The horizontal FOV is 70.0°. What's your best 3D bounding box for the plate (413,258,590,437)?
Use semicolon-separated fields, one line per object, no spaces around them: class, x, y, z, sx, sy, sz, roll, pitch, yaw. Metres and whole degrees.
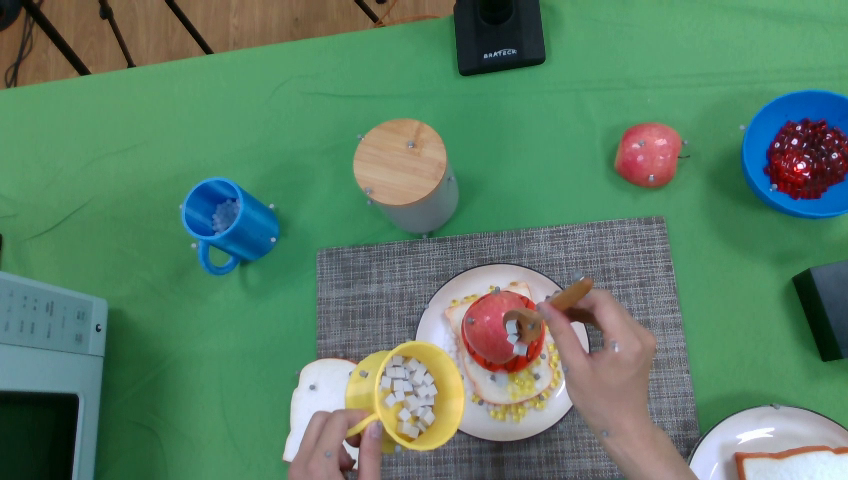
plate;0.090;0.126;0.723;0.207;0.039;0.206;-3;75;10

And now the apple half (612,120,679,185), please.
apple half;0.275;-0.114;0.748;0.074;0.054;0.080;17;79;17

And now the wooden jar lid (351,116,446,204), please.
wooden jar lid;-0.028;-0.089;0.691;0.108;0.021;0.107;-2;73;8

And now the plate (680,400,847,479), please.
plate;0.375;0.275;0.635;0.209;0.038;0.208;-3;75;10

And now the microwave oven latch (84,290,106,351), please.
microwave oven latch;-0.448;0.108;0.811;0.030;0.030;0.078;-2;76;10

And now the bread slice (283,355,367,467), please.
bread slice;-0.119;0.209;0.752;0.105;0.019;0.131;2;78;10

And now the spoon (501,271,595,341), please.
spoon;0.109;0.063;0.545;0.041;0.194;0.021;42;71;5

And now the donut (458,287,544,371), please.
donut;0.089;0.103;0.700;0.099;0.048;0.098;-3;76;10

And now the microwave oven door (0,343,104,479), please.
microwave oven door;-0.458;0.293;0.658;0.039;0.245;0.353;-6;74;10

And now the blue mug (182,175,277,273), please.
blue mug;-0.257;-0.012;0.791;0.082;0.106;0.116;15;79;14

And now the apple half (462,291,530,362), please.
apple half;0.079;0.093;0.666;0.081;0.033;0.081;-5;72;16

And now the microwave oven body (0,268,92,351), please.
microwave oven body;-0.603;0.267;0.697;0.325;0.262;0.439;-5;75;9

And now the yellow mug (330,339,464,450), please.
yellow mug;-0.031;0.155;0.578;0.131;0.064;0.100;-22;85;-36

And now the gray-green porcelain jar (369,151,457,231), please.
gray-green porcelain jar;-0.016;-0.073;0.752;0.105;0.127;0.105;-3;74;10

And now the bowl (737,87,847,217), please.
bowl;0.433;-0.090;0.698;0.151;0.077;0.150;-3;76;10

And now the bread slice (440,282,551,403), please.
bread slice;0.093;0.126;0.730;0.107;0.018;0.133;-22;69;0
